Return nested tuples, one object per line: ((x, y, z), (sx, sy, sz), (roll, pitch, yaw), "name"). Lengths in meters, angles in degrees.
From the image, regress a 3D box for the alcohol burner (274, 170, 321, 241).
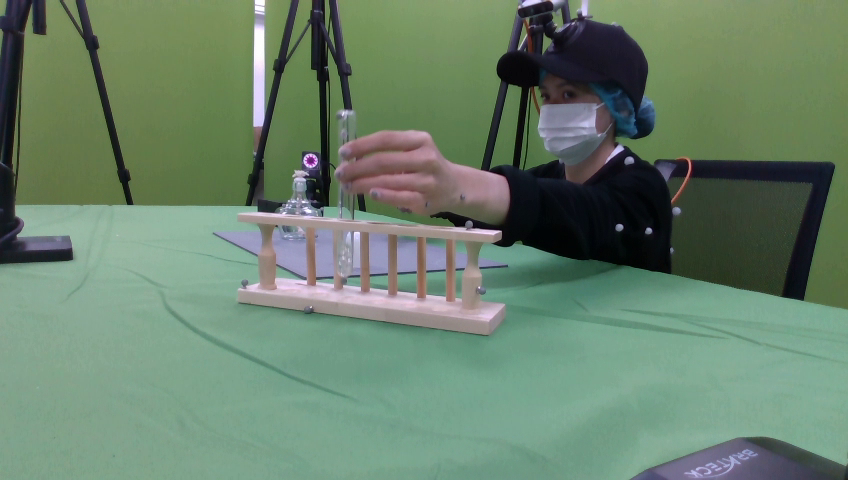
((-0.212, -0.058, 1.015), (0.078, 0.119, 0.078), (4, 5, 0), "alcohol burner")

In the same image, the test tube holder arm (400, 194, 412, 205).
((-0.030, -0.070, 1.049), (0.015, 0.010, 0.088), (45, 2, 1), "test tube holder arm")

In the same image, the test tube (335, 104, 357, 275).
((-0.069, -0.043, 0.532), (0.017, 0.150, 0.017), (3, 9, 0), "test tube")

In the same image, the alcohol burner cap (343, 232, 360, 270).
((-0.087, 0.013, 0.776), (0.034, 0.048, 0.034), (3, 7, 0), "alcohol burner cap")

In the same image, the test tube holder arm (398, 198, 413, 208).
((-0.032, -0.067, 1.095), (0.015, 0.013, 0.178), (45, 2, 1), "test tube holder arm")

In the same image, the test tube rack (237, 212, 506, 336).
((-0.049, 0.024, 0.552), (0.242, 0.085, 0.067), (5, 8, 19), "test tube rack")
